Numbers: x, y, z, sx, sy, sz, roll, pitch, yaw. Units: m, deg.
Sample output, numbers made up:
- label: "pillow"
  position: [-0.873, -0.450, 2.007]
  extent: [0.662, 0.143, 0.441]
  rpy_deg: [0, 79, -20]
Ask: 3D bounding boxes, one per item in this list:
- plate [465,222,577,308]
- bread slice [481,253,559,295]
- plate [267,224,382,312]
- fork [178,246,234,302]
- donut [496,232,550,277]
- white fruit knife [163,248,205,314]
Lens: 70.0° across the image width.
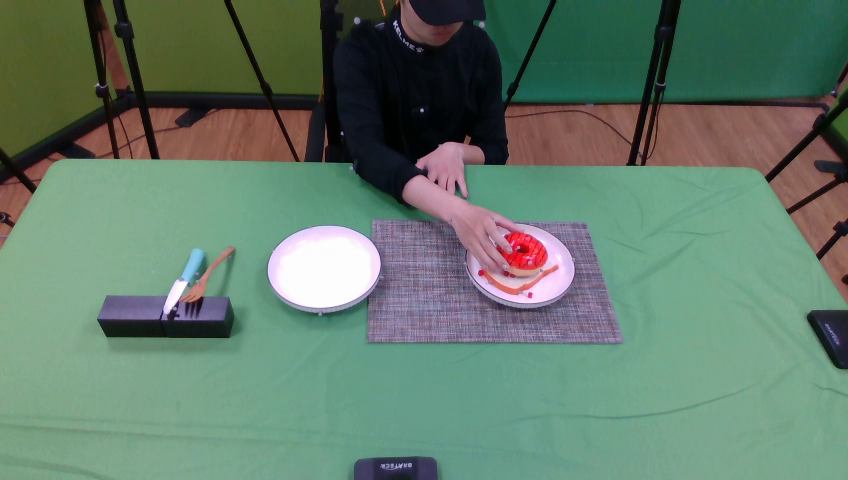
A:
- label: "plate"
  position: [0.180, 0.051, 1.144]
  extent: [0.209, 0.038, 0.208]
  rpy_deg: [2, 46, -2]
- label: "bread slice"
  position: [0.177, 0.051, 1.149]
  extent: [0.131, 0.019, 0.104]
  rpy_deg: [-31, 54, -31]
- label: "plate"
  position: [-0.182, 0.055, 1.120]
  extent: [0.208, 0.039, 0.206]
  rpy_deg: [2, 46, -2]
- label: "fork"
  position: [-0.380, 0.057, 1.075]
  extent: [0.028, 0.019, 0.206]
  rpy_deg: [3, 28, 5]
- label: "donut"
  position: [0.182, 0.026, 1.119]
  extent: [0.099, 0.048, 0.098]
  rpy_deg: [2, 44, -2]
- label: "white fruit knife"
  position: [-0.420, 0.070, 1.063]
  extent: [0.027, 0.016, 0.206]
  rpy_deg: [-1, 29, -2]
